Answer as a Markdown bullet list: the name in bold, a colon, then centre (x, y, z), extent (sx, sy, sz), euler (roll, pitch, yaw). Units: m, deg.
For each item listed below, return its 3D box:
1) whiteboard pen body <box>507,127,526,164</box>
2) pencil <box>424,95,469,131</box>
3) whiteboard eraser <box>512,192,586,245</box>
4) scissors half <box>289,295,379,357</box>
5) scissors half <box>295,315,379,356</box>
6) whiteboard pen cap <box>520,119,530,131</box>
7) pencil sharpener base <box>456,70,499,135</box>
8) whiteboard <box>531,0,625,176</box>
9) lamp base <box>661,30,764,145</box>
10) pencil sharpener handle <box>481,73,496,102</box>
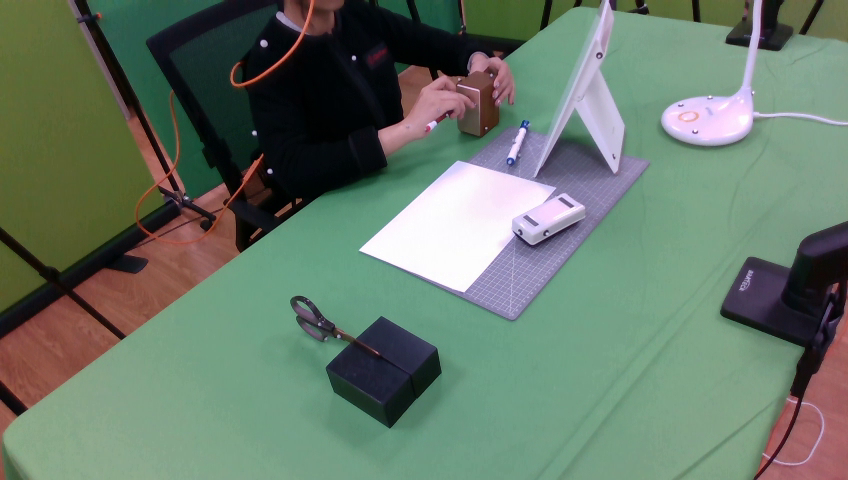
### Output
- **whiteboard pen body**: centre (0.181, -0.189, 1.162), extent (0.017, 0.017, 0.140), euler (8, 42, 19)
- **pencil**: centre (0.058, -0.256, 1.155), extent (0.012, 0.012, 0.194), euler (20, 47, 30)
- **whiteboard eraser**: centre (0.199, -0.032, 0.962), extent (0.113, 0.042, 0.055), euler (-27, 42, -20)
- **scissors half**: centre (-0.122, 0.114, 0.803), extent (0.174, 0.040, 0.013), euler (26, 50, 32)
- **scissors half**: centre (-0.119, 0.131, 0.813), extent (0.173, 0.040, 0.013), euler (9, 34, 45)
- **whiteboard pen cap**: centre (0.200, -0.226, 1.205), extent (0.018, 0.018, 0.033), euler (7, 42, 18)
- **pencil sharpener base**: centre (0.110, -0.278, 1.219), extent (0.061, 0.107, 0.077), euler (22, 47, 30)
- **whiteboard**: centre (0.320, -0.258, 1.050), extent (0.144, 0.306, 0.217), euler (22, 45, 5)
- **lamp base**: centre (0.535, -0.287, 1.096), extent (0.179, 0.181, 0.159), euler (-10, 40, -4)
- **pencil sharpener handle**: centre (0.136, -0.317, 1.243), extent (0.036, 0.068, 0.031), euler (33, 52, 18)
